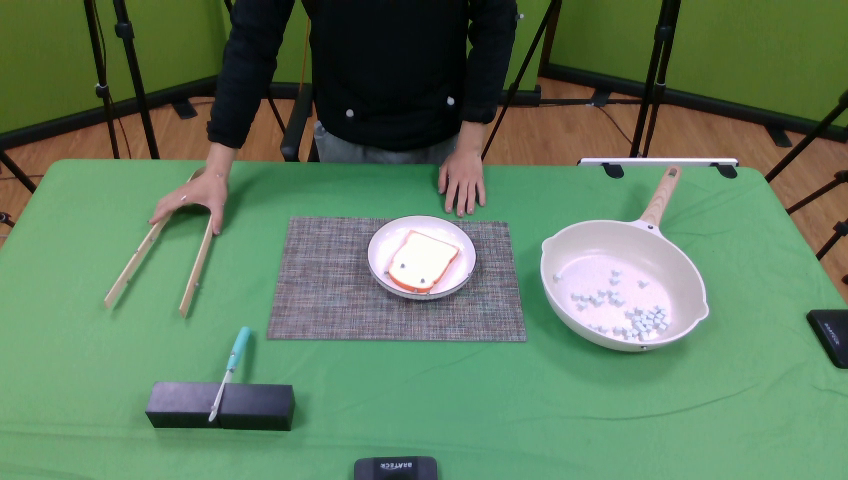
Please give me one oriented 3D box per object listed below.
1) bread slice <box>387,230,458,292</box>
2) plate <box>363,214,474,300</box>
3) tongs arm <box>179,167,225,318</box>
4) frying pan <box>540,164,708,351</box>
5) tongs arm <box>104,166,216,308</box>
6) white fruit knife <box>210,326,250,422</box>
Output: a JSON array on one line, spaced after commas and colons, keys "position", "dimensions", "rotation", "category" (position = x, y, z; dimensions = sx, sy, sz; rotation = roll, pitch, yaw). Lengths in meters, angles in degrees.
[{"position": [-0.007, 0.043, 1.142], "dimensions": [0.107, 0.018, 0.134], "rotation": [18, 46, 14], "category": "bread slice"}, {"position": [-0.010, 0.036, 1.146], "dimensions": [0.208, 0.039, 0.206], "rotation": [2, 46, -2], "category": "plate"}, {"position": [-0.425, -0.011, 1.169], "dimensions": [0.028, 0.028, 0.385], "rotation": [-1, 46, -2], "category": "tongs arm"}, {"position": [0.407, 0.012, 1.160], "dimensions": [0.306, 0.103, 0.486], "rotation": [26, 58, 18], "category": "frying pan"}, {"position": [-0.496, -0.019, 1.167], "dimensions": [0.051, 0.026, 0.382], "rotation": [8, 45, 2], "category": "tongs arm"}, {"position": [-0.301, 0.201, 0.942], "dimensions": [0.016, 0.027, 0.206], "rotation": [2, 32, -2], "category": "white fruit knife"}]
